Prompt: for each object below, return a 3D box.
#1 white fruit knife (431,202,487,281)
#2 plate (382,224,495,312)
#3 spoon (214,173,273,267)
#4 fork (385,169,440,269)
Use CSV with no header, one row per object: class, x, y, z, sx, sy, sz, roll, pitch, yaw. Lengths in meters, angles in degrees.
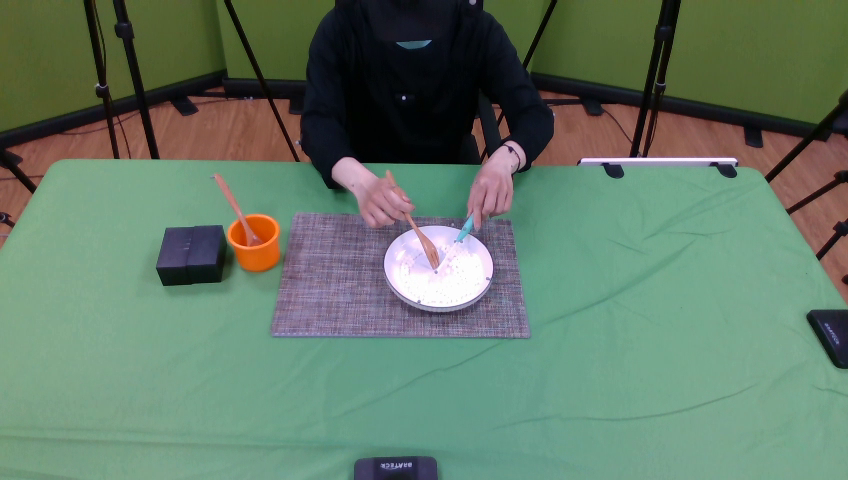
white fruit knife,0.068,0.000,1.157,0.016,0.027,0.207,27,64,16
plate,0.026,0.055,1.128,0.209,0.038,0.208,2,46,-2
spoon,-0.336,-0.037,1.121,0.041,0.194,0.021,-29,10,-24
fork,-0.021,-0.038,1.123,0.028,0.018,0.207,-36,100,-35
